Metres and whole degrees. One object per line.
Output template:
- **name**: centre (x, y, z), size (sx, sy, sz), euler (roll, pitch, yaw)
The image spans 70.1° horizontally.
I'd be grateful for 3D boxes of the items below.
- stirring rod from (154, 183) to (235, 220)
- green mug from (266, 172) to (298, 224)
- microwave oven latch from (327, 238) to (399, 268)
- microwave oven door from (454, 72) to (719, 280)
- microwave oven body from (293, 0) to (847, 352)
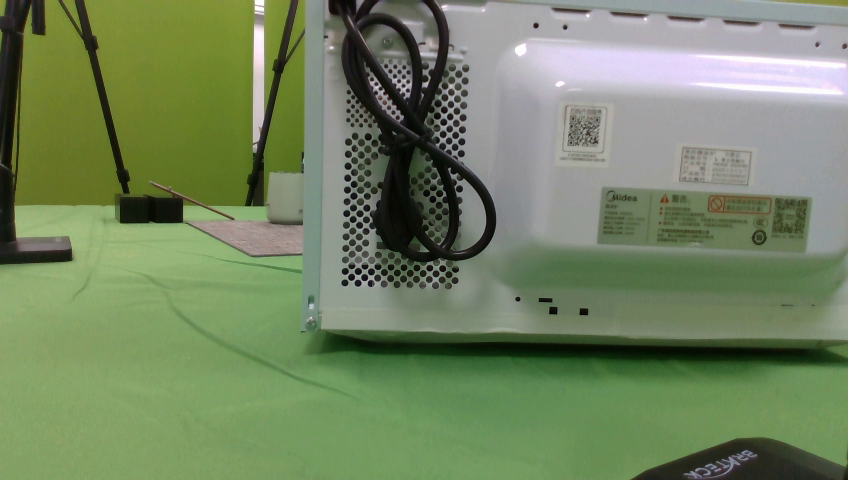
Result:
- **stirring rod**: centre (-0.472, -0.079, 1.252), size (0.177, 0.006, 0.014), euler (27, 4, -35)
- **green mug**: centre (-0.272, -0.089, 1.271), size (0.092, 0.105, 0.126), euler (7, 8, 33)
- **microwave oven latch**: centre (-0.069, 0.015, 0.694), size (0.079, 0.029, 0.030), euler (3, 7, -3)
- **microwave oven door**: centre (0.195, -0.091, 0.815), size (0.354, 0.243, 0.039), euler (8, 8, 39)
- **microwave oven body**: centre (0.122, -0.055, 0.550), size (0.442, 0.260, 0.325), euler (3, 7, -5)
